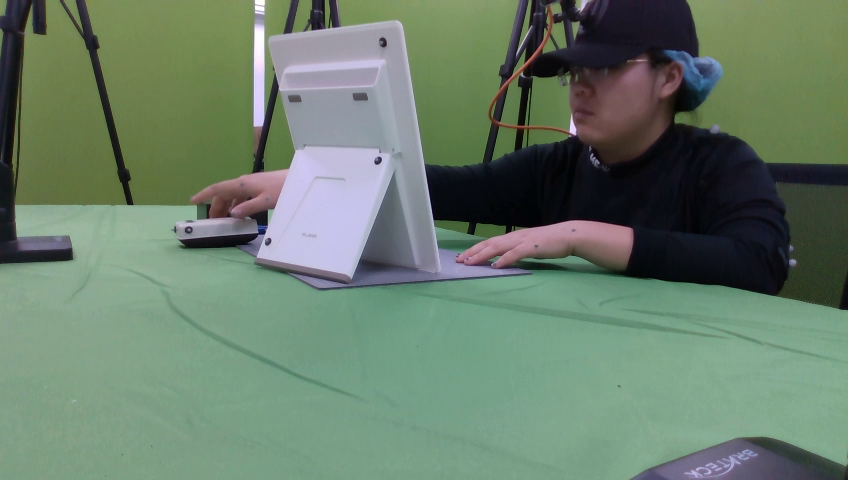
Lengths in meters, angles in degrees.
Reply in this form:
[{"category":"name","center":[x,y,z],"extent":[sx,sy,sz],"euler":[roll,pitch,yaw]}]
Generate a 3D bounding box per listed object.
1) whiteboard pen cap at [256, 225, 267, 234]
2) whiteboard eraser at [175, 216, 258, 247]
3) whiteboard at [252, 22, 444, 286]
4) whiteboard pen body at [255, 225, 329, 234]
[{"category":"whiteboard pen cap","center":[-0.289,-0.019,1.071],"extent":[0.033,0.018,0.018],"euler":[-3,9,-34]},{"category":"whiteboard eraser","center":[-0.313,-0.013,0.914],"extent":[0.113,0.042,0.055],"euler":[-6,11,-29]},{"category":"whiteboard","center":[-0.125,-0.081,0.715],"extent":[0.216,0.305,0.144],"euler":[9,29,36]},{"category":"whiteboard pen body","center":[-0.239,-0.019,1.105],"extent":[0.141,0.017,0.017],"euler":[-2,9,-34]}]
